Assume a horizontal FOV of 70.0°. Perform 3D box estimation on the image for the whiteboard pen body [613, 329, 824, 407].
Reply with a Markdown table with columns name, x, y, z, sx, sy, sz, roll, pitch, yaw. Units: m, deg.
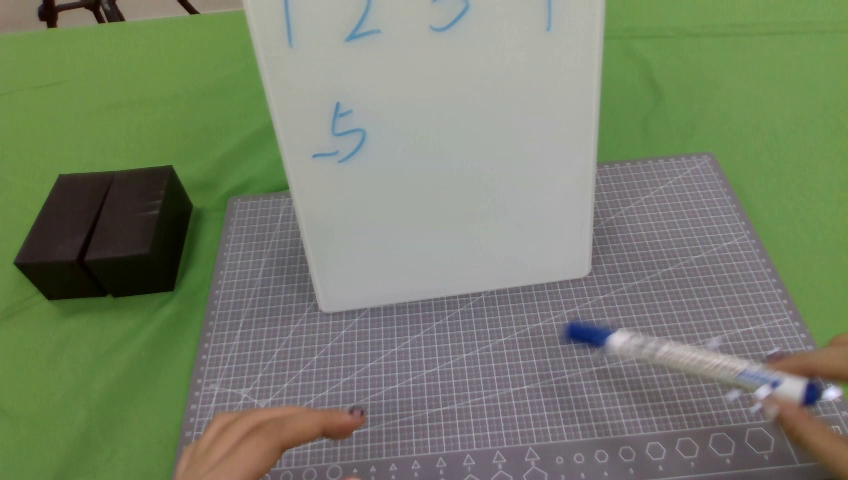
| name | x | y | z | sx | sy | sz | roll | pitch | yaw |
| --- | --- | --- | --- | --- | --- | --- | --- | --- | --- |
| whiteboard pen body | 0.158 | 0.072 | 0.364 | 0.139 | 0.017 | 0.017 | 11 | 47 | 43 |

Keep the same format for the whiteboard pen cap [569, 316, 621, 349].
| name | x | y | z | sx | sy | sz | roll | pitch | yaw |
| --- | --- | --- | --- | --- | --- | --- | --- | --- | --- |
| whiteboard pen cap | 0.115 | 0.063 | 0.404 | 0.033 | 0.018 | 0.018 | 13 | 49 | 41 |

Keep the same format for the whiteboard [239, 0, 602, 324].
| name | x | y | z | sx | sy | sz | roll | pitch | yaw |
| --- | --- | --- | --- | --- | --- | --- | --- | --- | --- |
| whiteboard | 0.003 | -0.114 | 0.454 | 0.217 | 0.308 | 0.142 | -7 | 30 | -1 |
